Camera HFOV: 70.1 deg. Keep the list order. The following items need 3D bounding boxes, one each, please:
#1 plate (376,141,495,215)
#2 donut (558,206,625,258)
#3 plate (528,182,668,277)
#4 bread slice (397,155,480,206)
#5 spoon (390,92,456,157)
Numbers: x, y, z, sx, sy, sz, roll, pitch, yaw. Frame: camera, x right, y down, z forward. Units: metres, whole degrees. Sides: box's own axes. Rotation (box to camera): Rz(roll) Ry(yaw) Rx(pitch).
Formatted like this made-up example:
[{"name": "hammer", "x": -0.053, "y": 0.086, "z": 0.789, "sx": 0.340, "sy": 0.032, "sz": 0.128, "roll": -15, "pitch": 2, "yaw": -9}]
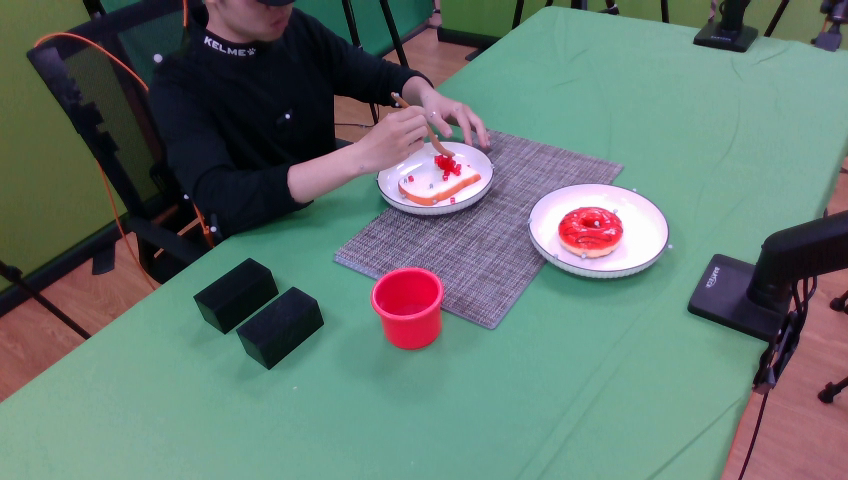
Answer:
[{"name": "plate", "x": 0.022, "y": -0.106, "z": 1.072, "sx": 0.209, "sy": 0.038, "sz": 0.208, "roll": -4, "pitch": 40, "yaw": 4}, {"name": "donut", "x": 0.254, "y": -0.015, "z": 0.917, "sx": 0.099, "sy": 0.048, "sz": 0.098, "roll": -5, "pitch": 41, "yaw": 5}, {"name": "plate", "x": 0.264, "y": -0.014, "z": 0.933, "sx": 0.207, "sy": 0.039, "sz": 0.206, "roll": -3, "pitch": 42, "yaw": 3}, {"name": "bread slice", "x": 0.020, "y": -0.106, "z": 1.078, "sx": 0.132, "sy": 0.019, "sz": 0.104, "roll": -31, "pitch": 46, "yaw": -29}, {"name": "spoon", "x": -0.001, "y": -0.195, "z": 1.032, "sx": 0.021, "sy": 0.195, "sz": 0.041, "roll": -48, "pitch": 48, "yaw": 0}]
